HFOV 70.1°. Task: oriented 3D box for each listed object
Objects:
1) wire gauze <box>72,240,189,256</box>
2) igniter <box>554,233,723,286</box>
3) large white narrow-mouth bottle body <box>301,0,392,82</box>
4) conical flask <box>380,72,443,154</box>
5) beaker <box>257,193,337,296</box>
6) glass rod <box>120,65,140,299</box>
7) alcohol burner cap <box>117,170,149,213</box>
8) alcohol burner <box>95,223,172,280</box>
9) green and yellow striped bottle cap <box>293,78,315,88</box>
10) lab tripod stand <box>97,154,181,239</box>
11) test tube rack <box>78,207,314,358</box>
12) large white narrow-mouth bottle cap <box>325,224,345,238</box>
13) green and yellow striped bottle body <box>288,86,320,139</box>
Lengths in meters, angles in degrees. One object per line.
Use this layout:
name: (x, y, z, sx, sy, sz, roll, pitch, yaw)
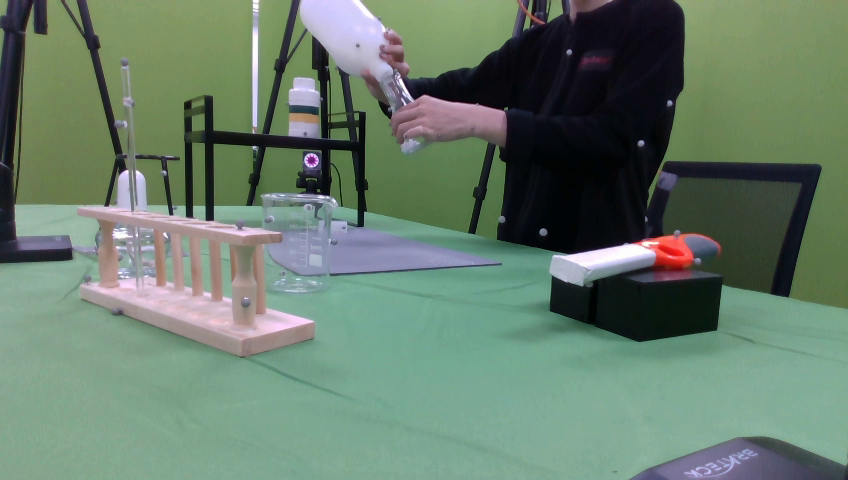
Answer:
wire gauze: (-0.399, 0.013, 0.820, 0.126, 0.011, 0.121, -3, 8, -37)
igniter: (0.214, 0.015, 0.570, 0.278, 0.025, 0.057, -5, 22, -44)
large white narrow-mouth bottle body: (-0.115, -0.332, 0.993, 0.102, 0.101, 0.194, -8, 55, -52)
conical flask: (-0.027, -0.205, 0.969, 0.075, 0.122, 0.075, -28, 4, 3)
beaker: (-0.130, 0.003, 0.628, 0.084, 0.100, 0.074, 5, 8, 15)
glass rod: (-0.249, -0.047, 0.513, 0.008, 0.199, 0.008, -1, 4, 0)
alcohol burner cap: (-0.320, -0.052, 0.661, 0.034, 0.048, 0.034, -3, 0, 0)
alcohol burner: (-0.320, -0.017, 0.667, 0.078, 0.119, 0.078, 0, 7, 0)
green and yellow striped bottle cap: (-0.248, -0.323, 1.256, 0.045, 0.020, 0.045, 4, 8, 0)
lab tripod stand: (-0.427, -0.066, 0.942, 0.148, 0.131, 0.148, 1, 6, 0)
test tube rack: (-0.196, 0.024, 0.500, 0.241, 0.085, 0.067, 8, 8, 37)
large white narrow-mouth bottle cap: (-0.160, -0.017, 1.090, 0.038, 0.024, 0.037, 3, 9, 0)
green and yellow striped bottle body: (-0.250, -0.272, 1.261, 0.063, 0.119, 0.063, 3, 7, 0)
